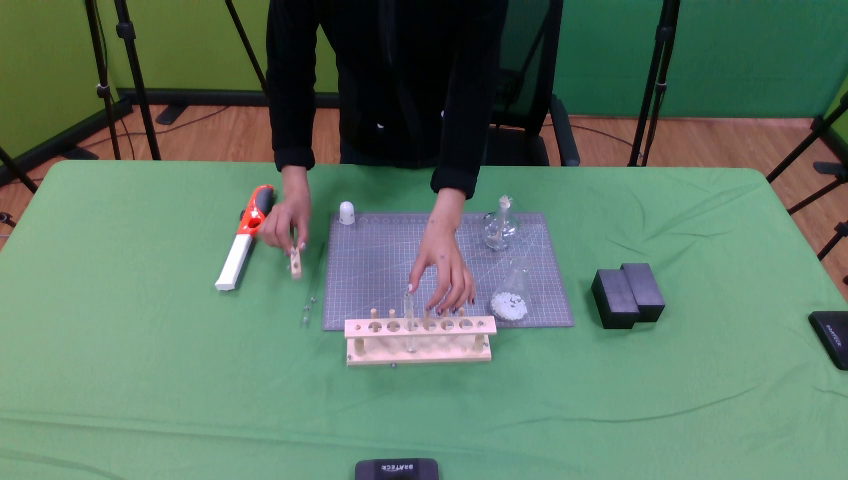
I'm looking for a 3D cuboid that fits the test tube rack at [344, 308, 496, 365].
[{"bbox_3d":[-0.009,0.154,1.007,0.242,0.085,0.066,-1,46,-5],"label":"test tube rack"}]

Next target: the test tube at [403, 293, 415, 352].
[{"bbox_3d":[-0.024,0.134,0.957,0.017,0.151,0.017,0,48,0],"label":"test tube"}]

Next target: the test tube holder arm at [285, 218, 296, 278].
[{"bbox_3d":[-0.246,0.011,1.115,0.013,0.015,0.177,1,34,-19],"label":"test tube holder arm"}]

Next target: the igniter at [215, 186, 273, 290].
[{"bbox_3d":[-0.348,-0.014,1.182,0.057,0.025,0.275,-1,45,8],"label":"igniter"}]

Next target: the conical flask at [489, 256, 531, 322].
[{"bbox_3d":[0.158,0.081,1.060,0.075,0.122,0.075,2,46,-2],"label":"conical flask"}]

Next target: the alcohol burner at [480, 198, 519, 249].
[{"bbox_3d":[0.150,-0.038,1.182,0.078,0.119,0.077,3,47,-3],"label":"alcohol burner"}]

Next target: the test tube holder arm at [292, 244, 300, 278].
[{"bbox_3d":[-0.229,0.037,1.082,0.010,0.015,0.087,2,34,-19],"label":"test tube holder arm"}]

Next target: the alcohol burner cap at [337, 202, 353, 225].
[{"bbox_3d":[-0.159,-0.056,1.224,0.034,0.048,0.033,3,45,-2],"label":"alcohol burner cap"}]

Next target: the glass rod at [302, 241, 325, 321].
[{"bbox_3d":[-0.203,0.071,1.123,0.008,0.008,0.198,5,44,1],"label":"glass rod"}]
